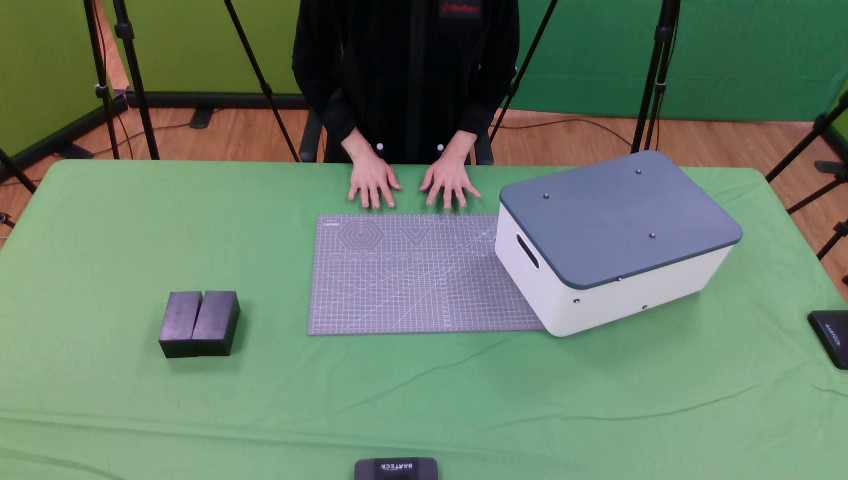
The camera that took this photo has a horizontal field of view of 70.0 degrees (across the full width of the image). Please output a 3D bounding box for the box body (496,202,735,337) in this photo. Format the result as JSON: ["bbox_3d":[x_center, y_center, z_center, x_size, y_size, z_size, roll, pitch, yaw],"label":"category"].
[{"bbox_3d":[0.340,0.003,1.118,0.364,0.161,0.252,-15,49,-18],"label":"box body"}]

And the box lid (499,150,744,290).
[{"bbox_3d":[0.341,-0.049,1.064,0.372,0.015,0.261,-15,48,-18],"label":"box lid"}]
